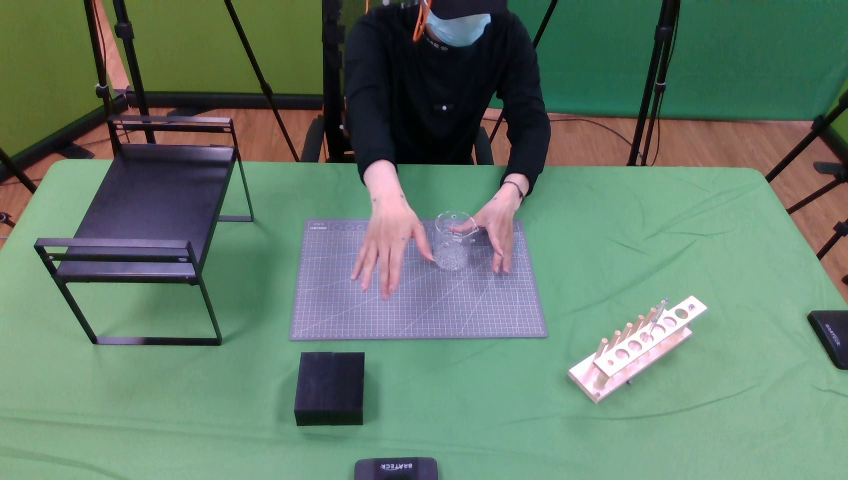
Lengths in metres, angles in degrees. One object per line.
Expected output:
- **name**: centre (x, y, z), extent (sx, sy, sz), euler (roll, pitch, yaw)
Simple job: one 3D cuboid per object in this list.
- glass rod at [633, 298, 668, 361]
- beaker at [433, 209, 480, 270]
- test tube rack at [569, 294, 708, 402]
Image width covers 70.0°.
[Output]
- **glass rod**: centre (0.350, 0.143, 0.945), extent (0.008, 0.201, 0.008), euler (-1, 53, 1)
- **beaker**: centre (0.057, 0.002, 1.138), extent (0.084, 0.101, 0.073), euler (8, 47, 2)
- **test tube rack**: centre (0.360, 0.167, 1.014), extent (0.242, 0.085, 0.066), euler (-25, 53, -25)
